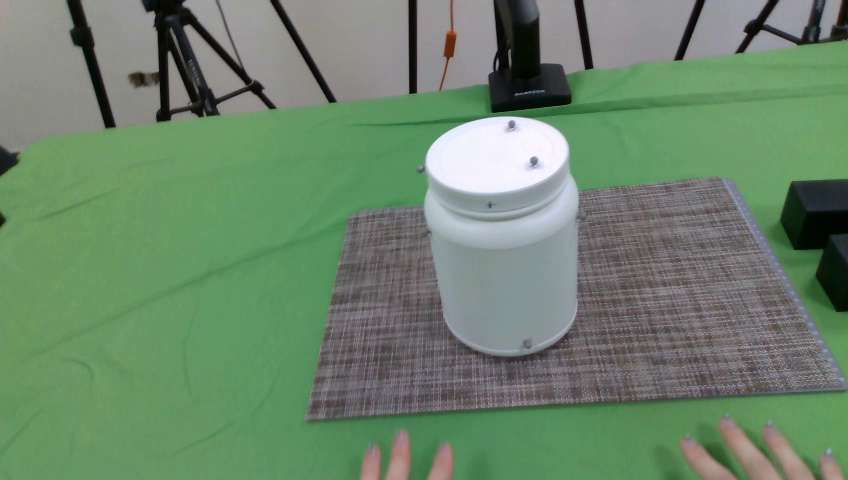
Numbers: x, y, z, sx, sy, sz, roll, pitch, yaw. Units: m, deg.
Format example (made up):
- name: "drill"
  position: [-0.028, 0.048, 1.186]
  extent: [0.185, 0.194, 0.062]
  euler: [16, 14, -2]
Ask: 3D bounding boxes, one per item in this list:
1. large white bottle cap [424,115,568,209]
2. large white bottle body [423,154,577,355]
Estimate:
- name: "large white bottle cap"
  position: [0.057, -0.065, 0.486]
  extent: [0.115, 0.018, 0.113]
  euler: [-6, 40, 5]
- name: "large white bottle body"
  position: [0.070, -0.002, 0.542]
  extent: [0.130, 0.186, 0.129]
  euler: [-6, 40, 6]
